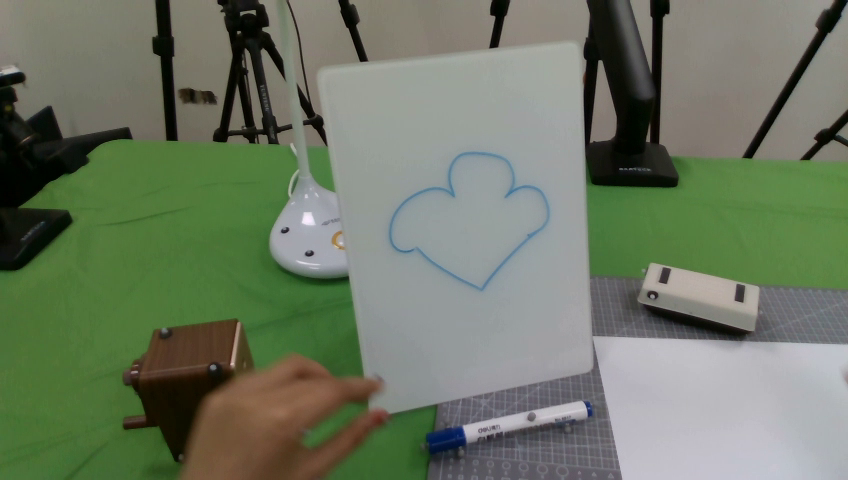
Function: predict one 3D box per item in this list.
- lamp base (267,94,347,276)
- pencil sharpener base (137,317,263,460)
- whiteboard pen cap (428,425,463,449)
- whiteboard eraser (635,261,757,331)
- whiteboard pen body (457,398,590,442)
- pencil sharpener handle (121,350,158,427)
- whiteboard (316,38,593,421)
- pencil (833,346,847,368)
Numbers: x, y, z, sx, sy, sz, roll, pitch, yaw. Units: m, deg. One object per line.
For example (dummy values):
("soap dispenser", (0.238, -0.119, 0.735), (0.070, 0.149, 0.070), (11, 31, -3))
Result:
("lamp base", (-0.126, -0.074, 0.725), (0.161, 0.182, 0.177), (-28, 40, -32))
("pencil sharpener base", (-0.184, 0.125, 0.504), (0.077, 0.108, 0.060), (-7, 36, -6))
("whiteboard pen cap", (0.020, 0.163, 0.503), (0.018, 0.018, 0.033), (32, 13, 39))
("whiteboard eraser", (0.283, 0.059, 0.633), (0.112, 0.042, 0.055), (14, 39, 22))
("whiteboard pen body", (0.075, 0.155, 0.517), (0.141, 0.017, 0.017), (-9, 35, -9))
("pencil sharpener handle", (-0.234, 0.122, 0.488), (0.031, 0.068, 0.035), (-7, 23, -6))
("whiteboard", (0.027, -0.019, 0.580), (0.217, 0.307, 0.143), (-9, 16, -9))
("pencil", (0.373, 0.036, 0.422), (0.194, 0.012, 0.012), (-31, 37, 3))
